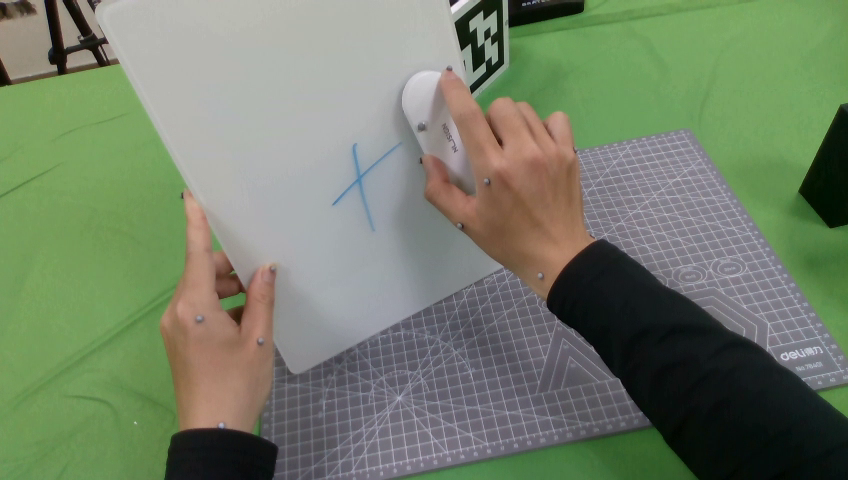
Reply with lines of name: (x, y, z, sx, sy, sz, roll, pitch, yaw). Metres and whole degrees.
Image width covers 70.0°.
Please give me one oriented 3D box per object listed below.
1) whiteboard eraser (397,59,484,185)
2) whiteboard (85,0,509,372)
whiteboard eraser: (0.013, -0.087, 0.454, 0.041, 0.102, 0.018, -33, 32, -8)
whiteboard: (-0.084, -0.088, 0.499, 0.217, 0.308, 0.142, -27, 33, -12)
